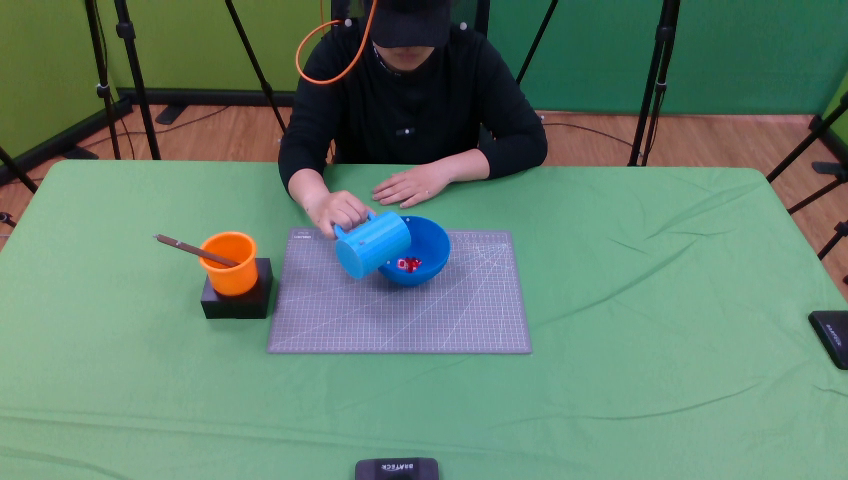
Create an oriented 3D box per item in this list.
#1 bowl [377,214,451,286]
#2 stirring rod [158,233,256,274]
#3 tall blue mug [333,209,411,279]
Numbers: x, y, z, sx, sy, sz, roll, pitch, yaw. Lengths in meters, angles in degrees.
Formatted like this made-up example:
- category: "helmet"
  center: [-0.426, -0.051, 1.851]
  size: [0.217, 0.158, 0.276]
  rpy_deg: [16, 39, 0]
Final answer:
- category: "bowl"
  center: [-0.028, 0.031, 1.122]
  size: [0.151, 0.077, 0.150]
  rpy_deg: [2, 46, -2]
- category: "stirring rod"
  center: [-0.353, 0.024, 1.000]
  size: [0.177, 0.006, 0.014]
  rpy_deg: [26, 32, -40]
- category: "tall blue mug"
  center: [-0.095, -0.006, 1.026]
  size: [0.108, 0.077, 0.107]
  rpy_deg: [-33, 96, -31]
